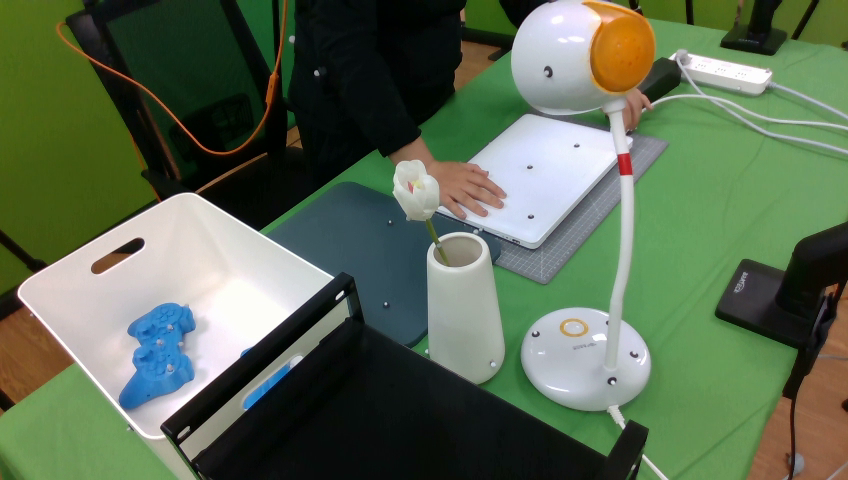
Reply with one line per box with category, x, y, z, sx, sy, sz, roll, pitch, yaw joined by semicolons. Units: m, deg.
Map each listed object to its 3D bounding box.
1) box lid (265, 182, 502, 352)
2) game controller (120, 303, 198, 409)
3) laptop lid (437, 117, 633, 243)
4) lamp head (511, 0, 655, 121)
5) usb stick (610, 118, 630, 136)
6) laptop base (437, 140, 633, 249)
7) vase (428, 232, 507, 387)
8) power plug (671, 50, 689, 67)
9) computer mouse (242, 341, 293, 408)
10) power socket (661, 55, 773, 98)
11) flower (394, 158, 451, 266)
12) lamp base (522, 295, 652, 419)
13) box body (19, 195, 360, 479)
box lid;-0.087;0.023;0.971;0.368;0.015;0.264;23;50;31
game controller;-0.364;0.149;0.828;0.097;0.052;0.154;-12;41;-10
laptop lid;0.190;-0.125;1.082;0.239;0.013;0.358;22;48;35
lamp head;0.156;-0.168;0.564;0.113;0.113;0.122;-18;23;-12
usb stick;0.369;-0.207;1.147;0.021;0.027;0.059;22;52;34
laptop base;0.194;-0.117;1.087;0.233;0.023;0.355;20;48;35
vase;0.051;0.087;0.728;0.098;0.201;0.097;-3;40;3
power plug;0.541;-0.379;1.302;0.073;0.053;0.035;-30;47;-22
computer mouse;-0.200;0.178;0.776;0.063;0.041;0.116;-11;43;-8
power socket;0.620;-0.352;1.289;0.225;0.033;0.072;26;51;33
flower;0.029;0.036;0.664;0.043;0.364;0.038;37;73;30
lamp base;0.201;0.095;0.710;0.161;0.181;0.178;-16;43;-10
box body;-0.287;0.118;0.772;0.361;0.161;0.255;26;50;33
